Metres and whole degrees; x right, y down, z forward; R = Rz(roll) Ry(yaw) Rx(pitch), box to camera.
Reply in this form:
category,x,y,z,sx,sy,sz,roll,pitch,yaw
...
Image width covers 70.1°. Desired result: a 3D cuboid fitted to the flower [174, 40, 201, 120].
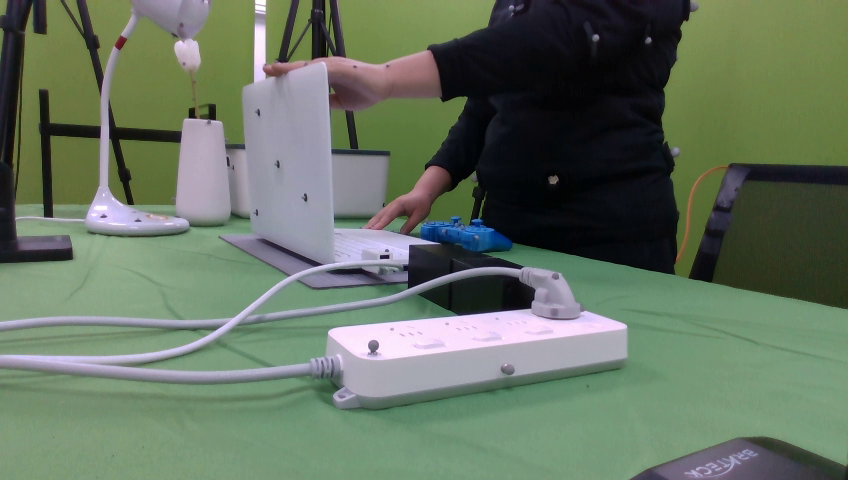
category,x,y,z,sx,sy,sz,roll,pitch,yaw
flower,-0.430,-0.211,1.165,0.044,0.361,0.038,-10,-5,-23

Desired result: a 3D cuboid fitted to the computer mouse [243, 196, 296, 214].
category,x,y,z,sx,sy,sz,roll,pitch,yaw
computer mouse,-0.362,-0.082,1.416,0.117,0.041,0.063,-3,10,5

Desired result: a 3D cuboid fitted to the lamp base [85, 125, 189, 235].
category,x,y,z,sx,sy,sz,roll,pitch,yaw
lamp base,-0.498,-0.105,1.027,0.179,0.180,0.160,1,7,2

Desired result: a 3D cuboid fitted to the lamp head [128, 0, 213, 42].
category,x,y,z,sx,sy,sz,roll,pitch,yaw
lamp head,-0.423,-0.394,0.980,0.123,0.112,0.112,20,7,-3

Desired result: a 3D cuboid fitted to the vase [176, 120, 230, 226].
category,x,y,z,sx,sy,sz,roll,pitch,yaw
vase,-0.425,-0.128,1.159,0.098,0.200,0.098,2,9,0

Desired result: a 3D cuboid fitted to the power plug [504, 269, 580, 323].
category,x,y,z,sx,sy,sz,roll,pitch,yaw
power plug,0.091,0.051,0.470,0.035,0.052,0.072,0,6,-16

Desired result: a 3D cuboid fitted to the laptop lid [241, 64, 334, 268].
category,x,y,z,sx,sy,sz,roll,pitch,yaw
laptop lid,-0.198,-0.104,0.830,0.013,0.241,0.355,-6,13,-31

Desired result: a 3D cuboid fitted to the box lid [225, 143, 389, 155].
category,x,y,z,sx,sy,sz,roll,pitch,yaw
box lid,-0.296,-0.217,1.463,0.373,0.015,0.262,-2,8,-29

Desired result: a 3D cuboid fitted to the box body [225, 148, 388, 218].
category,x,y,z,sx,sy,sz,roll,pitch,yaw
box body,-0.299,-0.143,1.473,0.366,0.160,0.253,-1,9,-30

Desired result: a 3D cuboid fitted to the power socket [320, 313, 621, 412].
category,x,y,z,sx,sy,sz,roll,pitch,yaw
power socket,0.038,0.075,0.409,0.228,0.032,0.072,-2,8,-29

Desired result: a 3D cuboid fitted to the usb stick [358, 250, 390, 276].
category,x,y,z,sx,sy,sz,roll,pitch,yaw
usb stick,-0.062,0.026,0.709,0.021,0.027,0.059,-2,3,-29

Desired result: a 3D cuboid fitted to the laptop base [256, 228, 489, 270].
category,x,y,z,sx,sy,sz,roll,pitch,yaw
laptop base,-0.096,0.011,0.912,0.237,0.023,0.352,2,6,-32

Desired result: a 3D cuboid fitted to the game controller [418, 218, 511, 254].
category,x,y,z,sx,sy,sz,roll,pitch,yaw
game controller,0.062,-0.008,1.027,0.154,0.051,0.097,9,14,43
